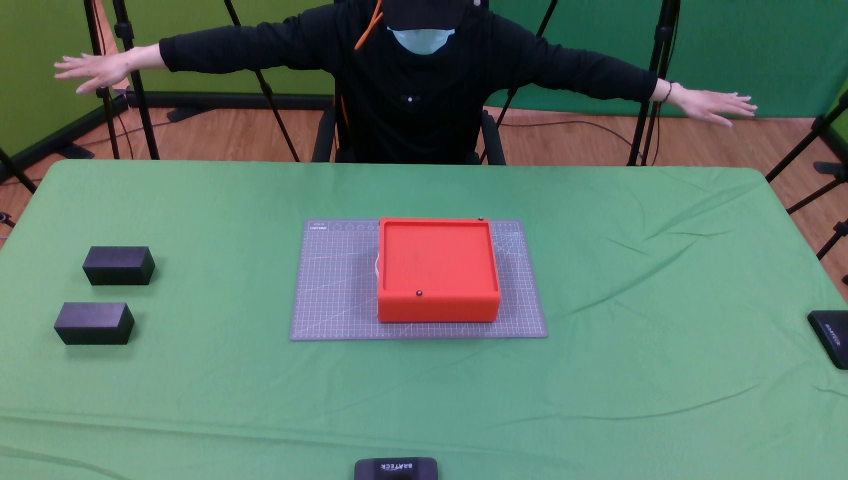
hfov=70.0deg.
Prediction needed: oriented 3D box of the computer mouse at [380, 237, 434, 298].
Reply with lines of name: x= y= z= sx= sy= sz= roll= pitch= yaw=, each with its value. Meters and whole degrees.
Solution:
computer mouse: x=-0.029 y=0.048 z=1.104 sx=0.063 sy=0.041 sz=0.117 roll=29 pitch=64 yaw=1

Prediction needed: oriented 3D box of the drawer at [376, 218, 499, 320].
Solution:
drawer: x=0.019 y=0.050 z=1.102 sx=0.212 sy=0.073 sz=0.193 roll=1 pitch=46 yaw=-3

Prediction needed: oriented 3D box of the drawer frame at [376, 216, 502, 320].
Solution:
drawer frame: x=0.021 y=0.049 z=1.102 sx=0.214 sy=0.083 sz=0.200 roll=1 pitch=46 yaw=-4
